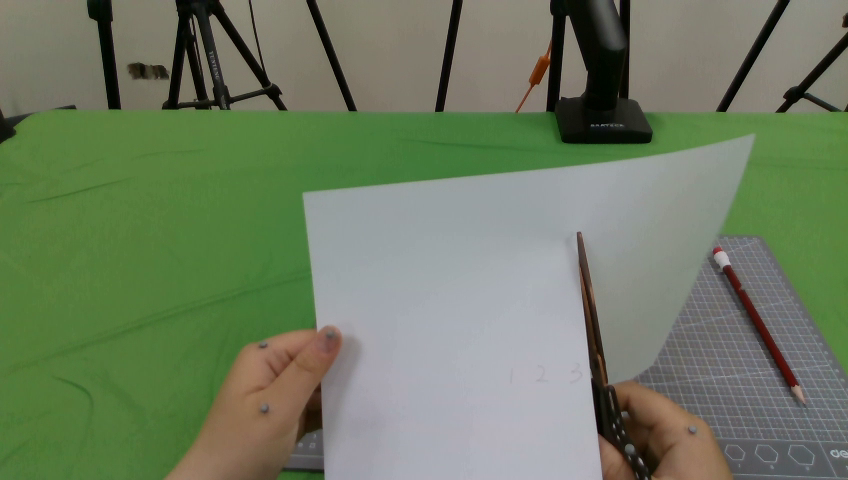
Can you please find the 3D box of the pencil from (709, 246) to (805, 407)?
[{"bbox_3d":[0.295,0.069,0.543,0.012,0.012,0.192,-1,39,1],"label":"pencil"}]

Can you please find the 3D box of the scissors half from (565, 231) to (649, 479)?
[{"bbox_3d":[0.099,0.079,0.332,0.013,0.040,0.174,-12,79,-3],"label":"scissors half"}]

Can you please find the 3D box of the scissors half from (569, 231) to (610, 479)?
[{"bbox_3d":[0.098,0.080,0.353,0.013,0.176,0.040,-12,11,-9],"label":"scissors half"}]
